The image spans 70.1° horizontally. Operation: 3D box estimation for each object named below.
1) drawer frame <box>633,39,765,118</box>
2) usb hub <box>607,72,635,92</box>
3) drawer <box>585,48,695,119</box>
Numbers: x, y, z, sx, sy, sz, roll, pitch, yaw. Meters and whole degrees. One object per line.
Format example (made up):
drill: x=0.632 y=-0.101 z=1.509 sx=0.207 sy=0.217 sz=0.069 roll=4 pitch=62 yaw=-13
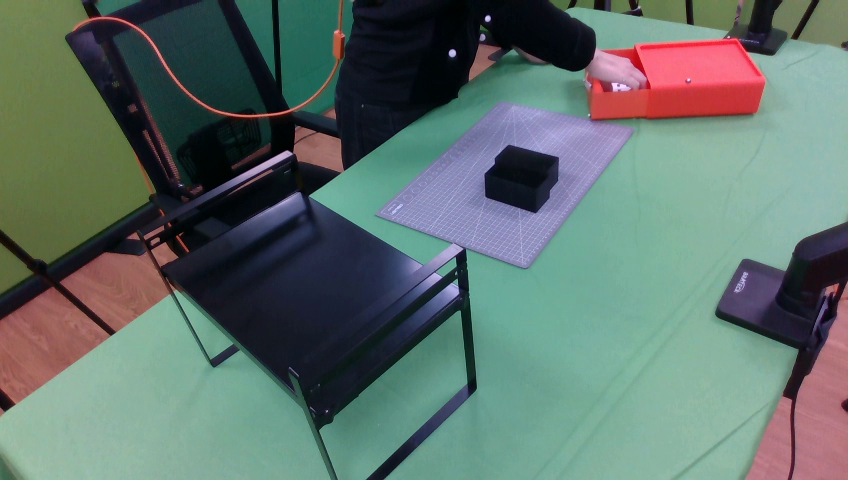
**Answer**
drawer frame: x=0.544 y=-0.332 z=1.233 sx=0.213 sy=0.083 sz=0.201 roll=-1 pitch=40 yaw=6
usb hub: x=0.413 y=-0.315 z=1.262 sx=0.049 sy=0.025 sz=0.125 roll=4 pitch=39 yaw=9
drawer: x=0.442 y=-0.330 z=1.248 sx=0.211 sy=0.073 sz=0.194 roll=0 pitch=41 yaw=9
